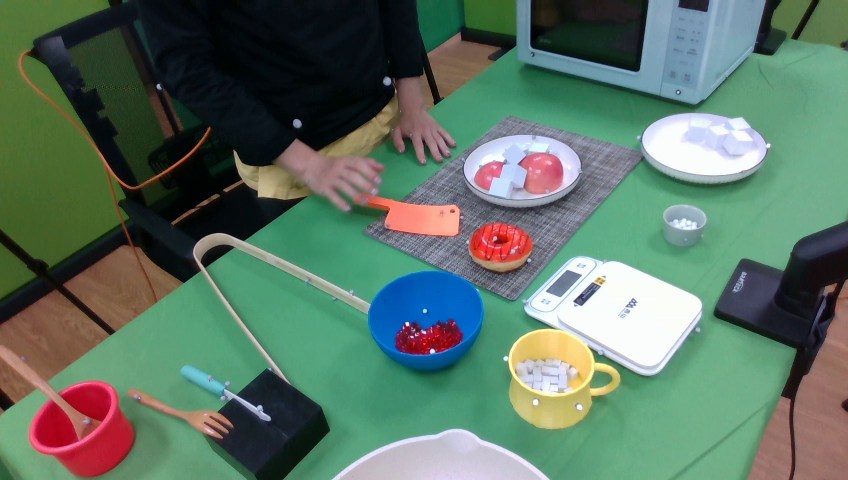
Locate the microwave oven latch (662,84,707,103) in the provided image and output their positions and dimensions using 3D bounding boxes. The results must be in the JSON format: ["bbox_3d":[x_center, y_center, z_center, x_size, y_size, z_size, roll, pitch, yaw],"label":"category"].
[{"bbox_3d":[0.517,-0.296,1.204,0.078,0.029,0.030,27,52,35],"label":"microwave oven latch"}]

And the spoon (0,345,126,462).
[{"bbox_3d":[-0.434,0.192,0.720,0.194,0.021,0.042,47,53,-7],"label":"spoon"}]

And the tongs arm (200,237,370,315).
[{"bbox_3d":[-0.209,0.063,0.924,0.381,0.026,0.051,23,53,32],"label":"tongs arm"}]

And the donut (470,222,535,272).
[{"bbox_3d":[0.119,0.009,0.923,0.099,0.048,0.098,-4,38,3],"label":"donut"}]

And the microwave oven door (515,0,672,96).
[{"bbox_3d":[0.343,-0.454,1.259,0.353,0.245,0.039,26,51,33],"label":"microwave oven door"}]

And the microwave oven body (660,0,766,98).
[{"bbox_3d":[0.472,-0.513,1.317,0.438,0.261,0.327,26,51,34],"label":"microwave oven body"}]

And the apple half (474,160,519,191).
[{"bbox_3d":[0.130,-0.120,1.068,0.081,0.033,0.081,-3,37,3],"label":"apple half"}]

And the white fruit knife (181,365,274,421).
[{"bbox_3d":[-0.245,0.187,0.747,0.205,0.027,0.016,9,41,40],"label":"white fruit knife"}]

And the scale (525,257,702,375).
[{"bbox_3d":[0.254,0.091,0.821,0.199,0.032,0.149,28,51,35],"label":"scale"}]

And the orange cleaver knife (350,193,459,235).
[{"bbox_3d":[-0.036,-0.044,1.028,0.210,0.012,0.077,10,49,18],"label":"orange cleaver knife"}]

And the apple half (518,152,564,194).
[{"bbox_3d":[0.204,-0.124,1.048,0.075,0.053,0.080,-7,41,-3],"label":"apple half"}]

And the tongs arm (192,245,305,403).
[{"bbox_3d":[-0.267,0.109,0.883,0.028,0.028,0.384,-36,46,-19],"label":"tongs arm"}]

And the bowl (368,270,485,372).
[{"bbox_3d":[0.007,0.118,0.791,0.151,0.077,0.150,-4,40,4],"label":"bowl"}]

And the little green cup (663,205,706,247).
[{"bbox_3d":[0.396,-0.020,0.926,0.061,0.039,0.061,-4,40,4],"label":"little green cup"}]

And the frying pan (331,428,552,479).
[{"bbox_3d":[-0.089,0.306,0.564,0.487,0.103,0.306,10,41,7],"label":"frying pan"}]

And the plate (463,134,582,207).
[{"bbox_3d":[0.173,-0.119,1.070,0.209,0.038,0.208,-4,40,4],"label":"plate"}]

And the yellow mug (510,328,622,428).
[{"bbox_3d":[0.168,0.164,0.722,0.130,0.064,0.099,0,40,8],"label":"yellow mug"}]

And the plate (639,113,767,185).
[{"bbox_3d":[0.489,-0.157,1.074,0.207,0.039,0.206,-4,40,4],"label":"plate"}]

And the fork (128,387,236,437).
[{"bbox_3d":[-0.305,0.207,0.744,0.206,0.019,0.028,3,41,36],"label":"fork"}]
